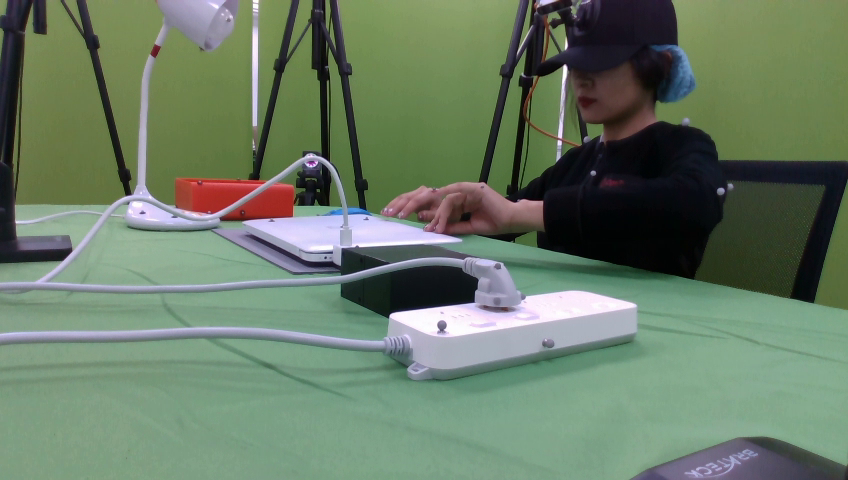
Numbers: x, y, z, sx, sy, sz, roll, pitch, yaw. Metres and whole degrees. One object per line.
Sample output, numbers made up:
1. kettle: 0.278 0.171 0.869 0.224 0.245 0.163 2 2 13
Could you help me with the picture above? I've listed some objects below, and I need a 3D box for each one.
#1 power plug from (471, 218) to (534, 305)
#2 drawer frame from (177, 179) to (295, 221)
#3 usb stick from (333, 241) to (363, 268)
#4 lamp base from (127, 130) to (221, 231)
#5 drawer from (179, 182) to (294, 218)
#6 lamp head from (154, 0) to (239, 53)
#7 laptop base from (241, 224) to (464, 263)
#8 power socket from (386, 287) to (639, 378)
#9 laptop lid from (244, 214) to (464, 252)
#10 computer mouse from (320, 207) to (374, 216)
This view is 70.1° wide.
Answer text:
1. power plug: 0.055 0.014 0.454 0.035 0.072 0.052 -22 -2 -40
2. drawer frame: -0.422 -0.092 1.352 0.215 0.082 0.200 -3 10 -32
3. usb stick: -0.097 0.017 0.742 0.021 0.027 0.059 -5 8 -31
4. lamp base: -0.469 -0.112 1.108 0.179 0.180 0.160 0 7 3
5. drawer: -0.420 -0.091 1.354 0.213 0.073 0.193 -3 10 -31
6. lamp head: -0.406 -0.402 1.059 0.123 0.112 0.112 25 5 -6
7. laptop base: -0.127 0.003 0.947 0.237 0.023 0.352 1 7 -30
8. power socket: 0.074 0.064 0.461 0.228 0.032 0.072 -4 8 -34
9. laptop lid: -0.125 -0.018 0.944 0.243 0.013 0.355 -4 9 -28
10. computer mouse: -0.163 -0.048 1.264 0.118 0.041 0.062 -6 12 -28
